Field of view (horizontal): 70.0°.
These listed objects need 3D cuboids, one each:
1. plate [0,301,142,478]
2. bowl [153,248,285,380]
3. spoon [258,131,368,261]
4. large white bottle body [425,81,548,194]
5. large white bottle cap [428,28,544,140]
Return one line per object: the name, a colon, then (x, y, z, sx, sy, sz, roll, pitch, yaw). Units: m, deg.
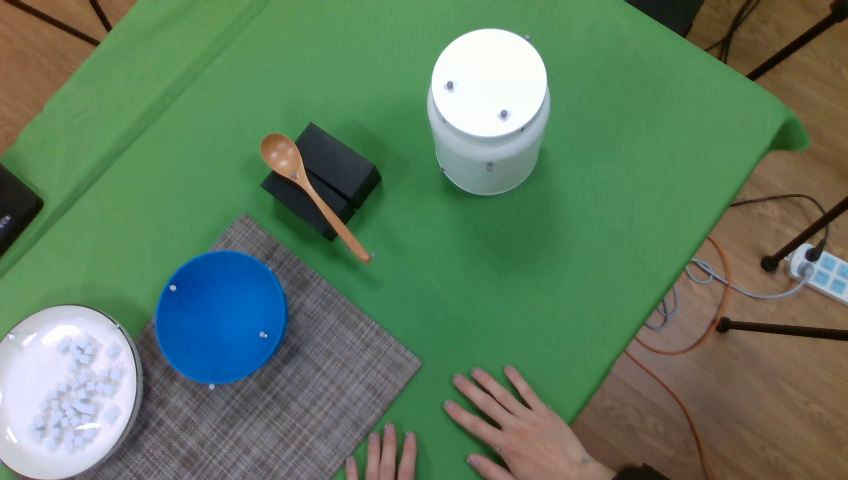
plate: (-0.438, 0.179, 0.739, 0.209, 0.038, 0.208, -1, 77, 7)
bowl: (-0.229, 0.089, 0.717, 0.151, 0.077, 0.151, -1, 80, 5)
spoon: (-0.130, -0.051, 0.722, 0.041, 0.022, 0.193, -38, 84, -9)
large white bottle body: (0.070, -0.138, 0.684, 0.130, 0.185, 0.130, -1, 78, 5)
large white bottle cap: (0.062, -0.155, 0.601, 0.115, 0.018, 0.114, -1, 78, 4)
